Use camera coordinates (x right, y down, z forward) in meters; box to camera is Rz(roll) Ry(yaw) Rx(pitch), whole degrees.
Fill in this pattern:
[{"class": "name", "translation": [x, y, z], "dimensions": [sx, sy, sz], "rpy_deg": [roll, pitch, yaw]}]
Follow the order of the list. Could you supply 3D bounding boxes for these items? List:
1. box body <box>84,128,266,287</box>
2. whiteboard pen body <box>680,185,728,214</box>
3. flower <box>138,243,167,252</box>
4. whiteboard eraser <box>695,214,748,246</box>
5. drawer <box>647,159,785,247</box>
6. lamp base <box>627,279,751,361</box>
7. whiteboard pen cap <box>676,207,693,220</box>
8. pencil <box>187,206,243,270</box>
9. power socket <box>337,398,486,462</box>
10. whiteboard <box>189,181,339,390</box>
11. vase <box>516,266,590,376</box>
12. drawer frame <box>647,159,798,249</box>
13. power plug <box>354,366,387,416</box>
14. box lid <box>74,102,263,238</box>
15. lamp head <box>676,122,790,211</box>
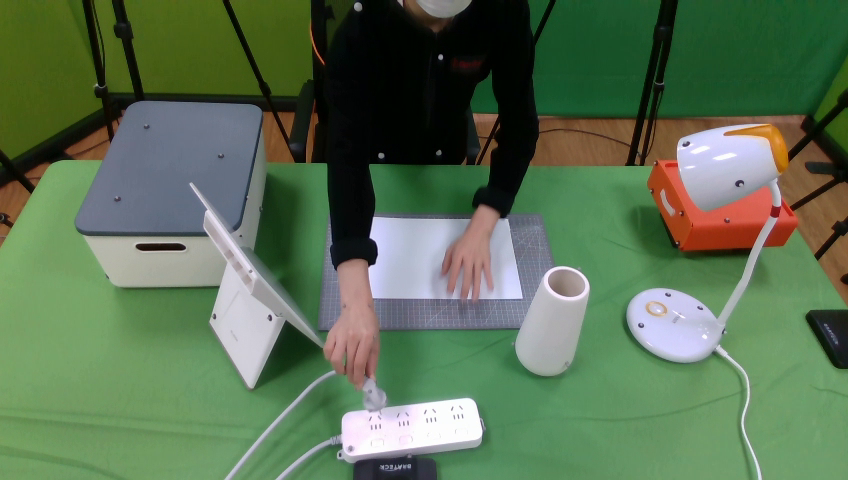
[{"class": "box body", "translation": [-0.447, -0.088, 1.150], "dimensions": [0.254, 0.161, 0.361], "rpy_deg": [-1, 46, -5]}, {"class": "whiteboard pen body", "translation": [0.571, -0.081, 1.239], "dimensions": [0.141, 0.017, 0.017], "rpy_deg": [-26, 54, -22]}, {"class": "flower", "translation": [-0.443, -0.043, 1.194], "dimensions": [0.044, 0.038, 0.361], "rpy_deg": [46, 47, -7]}, {"class": "whiteboard eraser", "translation": [0.592, -0.019, 1.209], "dimensions": [0.113, 0.042, 0.055], "rpy_deg": [12, 27, -36]}, {"class": "drawer", "translation": [0.582, -0.079, 1.214], "dimensions": [0.212, 0.073, 0.193], "rpy_deg": [-1, 46, -5]}, {"class": "lamp base", "translation": [0.459, 0.100, 1.027], "dimensions": [0.178, 0.181, 0.160], "rpy_deg": [27, 51, 17]}, {"class": "whiteboard pen cap", "translation": [0.524, -0.053, 1.216], "dimensions": [0.033, 0.018, 0.018], "rpy_deg": [-28, 54, -23]}, {"class": "pencil", "translation": [-0.401, -0.008, 1.176], "dimensions": [0.012, 0.012, 0.193], "rpy_deg": [15, 44, 10]}, {"class": "power socket", "translation": [-0.017, 0.285, 0.914], "dimensions": [0.227, 0.033, 0.071], "rpy_deg": [-4, 46, -8]}, {"class": "whiteboard", "translation": [-0.292, 0.096, 0.929], "dimensions": [0.144, 0.307, 0.216], "rpy_deg": [-37, 57, -10]}, {"class": "vase", "translation": [0.208, 0.132, 0.964], "dimensions": [0.098, 0.201, 0.097], "rpy_deg": [3, 46, -3]}, {"class": "drawer frame", "translation": [0.588, -0.077, 1.219], "dimensions": [0.214, 0.083, 0.200], "rpy_deg": [-2, 45, -5]}, {"class": "power plug", "translation": [-0.076, 0.222, 0.890], "dimensions": [0.035, 0.053, 0.072], "rpy_deg": [-16, 40, -5]}, {"class": "box lid", "translation": [-0.443, -0.138, 1.094], "dimensions": [0.263, 0.015, 0.369], "rpy_deg": [0, 46, -5]}, {"class": "lamp head", "translation": [0.423, -0.104, 0.819], "dimensions": [0.122, 0.113, 0.112], "rpy_deg": [-13, 33, 40]}]
